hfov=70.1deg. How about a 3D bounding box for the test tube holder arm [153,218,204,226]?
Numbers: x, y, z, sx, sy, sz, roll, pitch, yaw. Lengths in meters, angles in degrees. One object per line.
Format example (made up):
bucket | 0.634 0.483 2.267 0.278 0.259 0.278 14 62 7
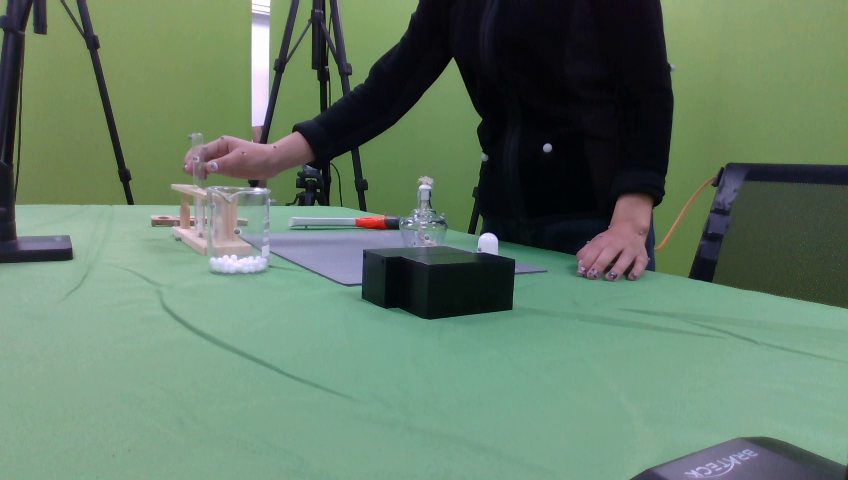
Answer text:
test tube holder arm | -0.459 -0.034 1.132 0.088 0.015 0.010 -1 43 -30

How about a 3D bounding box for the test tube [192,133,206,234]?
test tube | -0.336 -0.084 0.904 0.017 0.150 0.017 -1 2 0

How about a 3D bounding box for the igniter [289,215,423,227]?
igniter | -0.133 -0.038 1.232 0.278 0.025 0.057 -1 -2 -25

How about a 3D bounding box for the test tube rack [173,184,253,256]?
test tube rack | -0.329 -0.036 0.927 0.067 0.085 0.241 -2 9 -32

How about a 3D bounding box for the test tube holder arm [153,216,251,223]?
test tube holder arm | -0.422 -0.039 1.159 0.179 0.015 0.013 -2 43 -31

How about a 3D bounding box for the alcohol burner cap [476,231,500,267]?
alcohol burner cap | 0.088 0.012 0.830 0.034 0.048 0.034 3 7 0

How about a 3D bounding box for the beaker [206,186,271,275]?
beaker | -0.220 -0.011 0.717 0.074 0.100 0.084 2 8 -3

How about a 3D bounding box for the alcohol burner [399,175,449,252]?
alcohol burner | 0.000 -0.041 0.937 0.078 0.119 0.078 0 7 0
